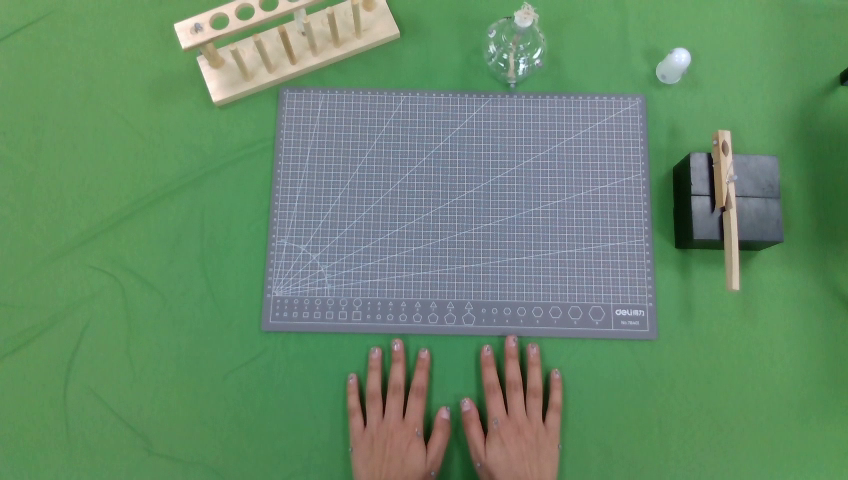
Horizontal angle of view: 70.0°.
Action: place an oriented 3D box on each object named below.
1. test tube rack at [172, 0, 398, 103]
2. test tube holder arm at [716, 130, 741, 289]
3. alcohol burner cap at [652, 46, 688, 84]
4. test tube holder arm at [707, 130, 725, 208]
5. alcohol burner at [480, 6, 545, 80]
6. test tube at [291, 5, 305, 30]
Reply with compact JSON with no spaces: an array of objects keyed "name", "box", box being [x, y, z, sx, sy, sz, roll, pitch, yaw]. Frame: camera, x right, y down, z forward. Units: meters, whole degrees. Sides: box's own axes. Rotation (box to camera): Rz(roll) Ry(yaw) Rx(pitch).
[{"name":"test tube rack","box":[-0.156,-0.251,0.717,0.242,0.085,0.066,-23,79,-5]},{"name":"test tube holder arm","box":[0.332,-0.035,0.666,0.013,0.015,0.177,-2,80,-2]},{"name":"alcohol burner cap","box":[0.302,-0.215,0.737,0.034,0.048,0.033,0,78,1]},{"name":"test tube holder arm","box":[0.325,-0.079,0.673,0.010,0.015,0.087,-1,80,-2]},{"name":"alcohol burner","box":[0.106,-0.236,0.703,0.078,0.119,0.077,0,79,-2]},{"name":"test tube","box":[-0.146,-0.285,0.674,0.017,0.151,0.017,1,71,-4]}]
